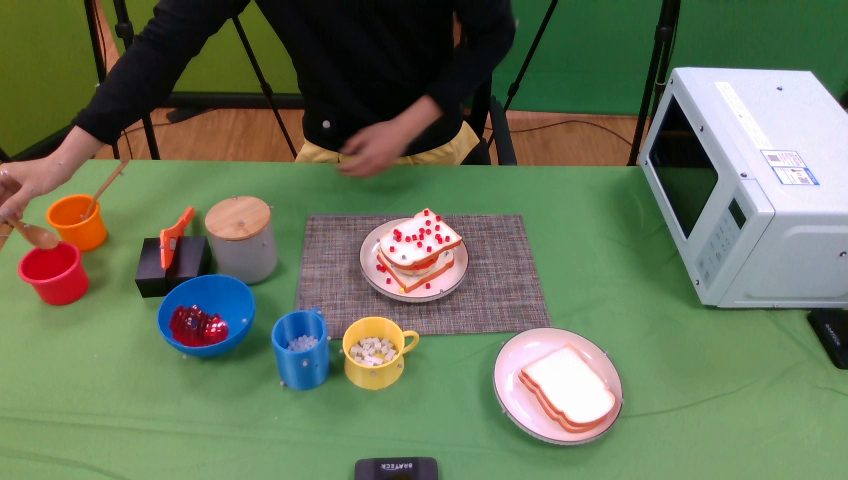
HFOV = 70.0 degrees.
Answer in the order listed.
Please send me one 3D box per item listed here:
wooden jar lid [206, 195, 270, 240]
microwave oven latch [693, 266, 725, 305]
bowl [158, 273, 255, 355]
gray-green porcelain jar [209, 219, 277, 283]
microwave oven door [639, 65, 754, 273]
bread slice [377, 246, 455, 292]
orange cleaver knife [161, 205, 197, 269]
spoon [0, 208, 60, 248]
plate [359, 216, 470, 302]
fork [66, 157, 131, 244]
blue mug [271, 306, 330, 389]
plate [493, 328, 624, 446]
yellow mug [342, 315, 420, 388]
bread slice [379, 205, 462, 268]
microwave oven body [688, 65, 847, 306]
[{"bbox_3d":[-0.319,-0.036,1.046,0.108,0.021,0.107,1,44,0],"label":"wooden jar lid"},{"bbox_3d":[0.523,0.081,1.115,0.030,0.029,0.078,3,46,0],"label":"microwave oven latch"},{"bbox_3d":[-0.351,0.136,1.001,0.151,0.077,0.150,2,46,-2],"label":"bowl"},{"bbox_3d":[-0.323,0.007,1.092,0.106,0.127,0.105,1,46,-1],"label":"gray-green porcelain jar"},{"bbox_3d":[0.522,-0.147,1.193,0.039,0.245,0.353,0,47,-3],"label":"microwave oven door"},{"bbox_3d":[-0.010,0.034,1.150,0.131,0.019,0.104,-29,56,-23],"label":"bread slice"},{"bbox_3d":[-0.453,-0.010,1.129,0.012,0.077,0.210,-3,20,-4],"label":"orange cleaver knife"},{"bbox_3d":[-0.674,-0.042,0.968,0.021,0.195,0.041,-21,52,16],"label":"spoon"},{"bbox_3d":[-0.019,0.038,1.140,0.209,0.038,0.208,2,46,-2],"label":"plate"},{"bbox_3d":[-0.608,-0.074,1.132,0.207,0.019,0.028,-52,49,10],"label":"fork"},{"bbox_3d":[-0.188,0.163,0.969,0.082,0.106,0.116,15,47,10],"label":"blue mug"},{"bbox_3d":[0.213,0.236,0.974,0.208,0.039,0.206,2,46,-2],"label":"plate"},{"bbox_3d":[-0.068,0.177,0.990,0.131,0.064,0.099,-15,50,-19],"label":"yellow mug"},{"bbox_3d":[-0.012,-0.001,1.097,0.134,0.018,0.106,-33,51,-23],"label":"bread slice"},{"bbox_3d":[0.669,-0.111,1.176,0.326,0.261,0.439,0,46,-3],"label":"microwave oven body"}]
